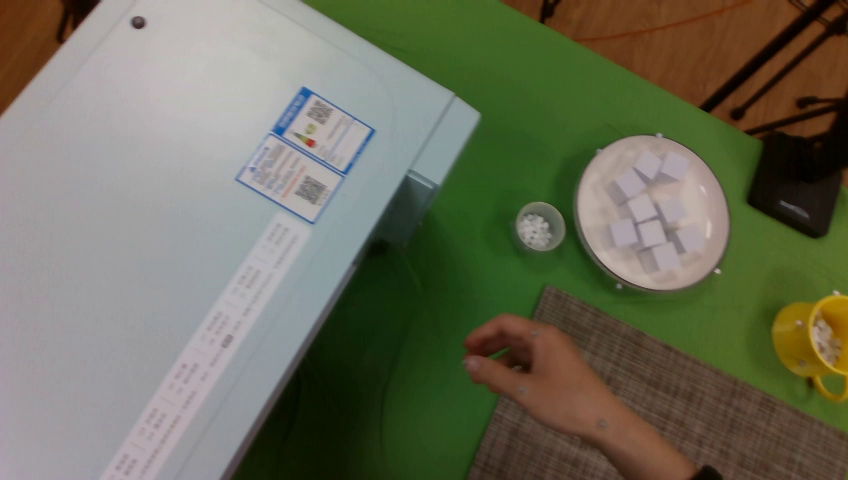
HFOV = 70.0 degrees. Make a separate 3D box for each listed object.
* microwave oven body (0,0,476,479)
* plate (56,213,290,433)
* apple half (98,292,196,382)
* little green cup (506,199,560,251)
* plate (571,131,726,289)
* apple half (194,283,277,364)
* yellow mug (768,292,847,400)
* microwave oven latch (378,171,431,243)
[{"bbox_3d":[-0.216,0.016,0.547,0.326,0.260,0.440,30,74,-3],"label":"microwave oven body"},{"bbox_3d":[-0.235,0.078,0.585,0.210,0.038,0.208,3,77,-11],"label":"plate"},{"bbox_3d":[-0.257,0.091,0.554,0.081,0.053,0.074,40,82,-11],"label":"apple half"},{"bbox_3d":[0.131,-0.015,0.740,0.062,0.038,0.061,2,78,-11],"label":"little green cup"},{"bbox_3d":[0.283,-0.037,0.775,0.208,0.039,0.206,3,77,-10],"label":"plate"},{"bbox_3d":[-0.187,0.081,0.587,0.081,0.033,0.081,2,76,-7],"label":"apple half"},{"bbox_3d":[0.502,0.135,0.763,0.100,0.064,0.130,-1,78,-12],"label":"yellow mug"},{"bbox_3d":[-0.022,-0.037,0.697,0.030,0.029,0.079,32,74,-2],"label":"microwave oven latch"}]
